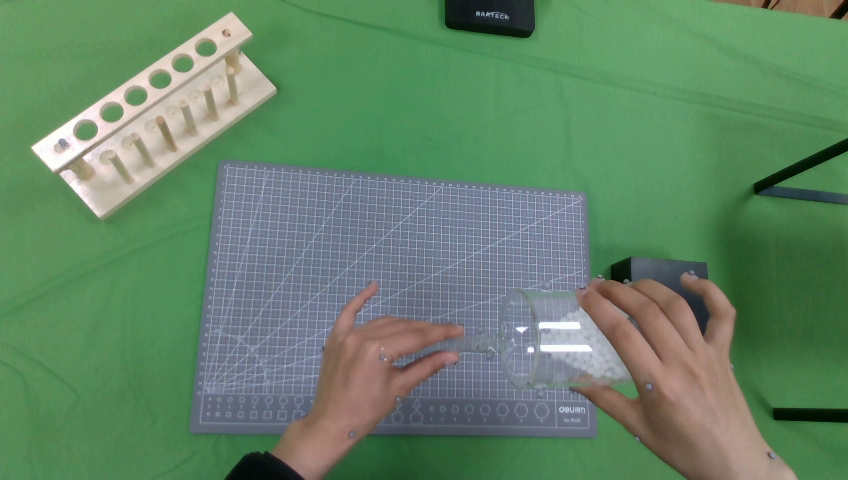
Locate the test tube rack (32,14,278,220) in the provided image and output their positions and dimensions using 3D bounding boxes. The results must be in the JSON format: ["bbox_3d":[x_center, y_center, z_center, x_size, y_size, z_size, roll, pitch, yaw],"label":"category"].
[{"bbox_3d":[-0.276,-0.132,0.653,0.242,0.085,0.066,-42,87,-18],"label":"test tube rack"}]

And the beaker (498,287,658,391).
[{"bbox_3d":[0.113,0.075,0.455,0.100,0.084,0.073,3,75,-14],"label":"beaker"}]

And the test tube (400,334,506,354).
[{"bbox_3d":[0.020,0.094,0.541,0.017,0.150,0.017,7,77,-32],"label":"test tube"}]
